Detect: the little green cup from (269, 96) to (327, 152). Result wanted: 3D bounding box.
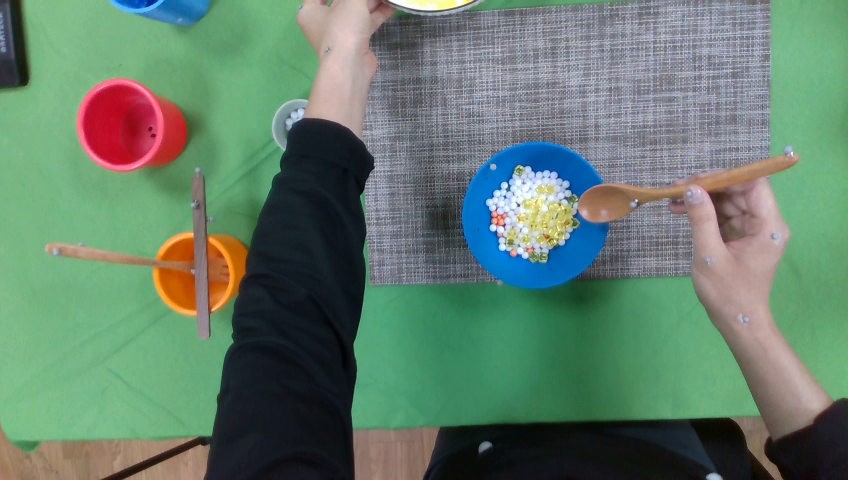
[{"bbox_3d":[-0.139,-0.128,0.681,0.061,0.038,0.061,0,97,5],"label":"little green cup"}]

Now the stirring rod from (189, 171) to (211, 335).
[{"bbox_3d":[-0.239,0.015,0.645,0.014,0.006,0.176,-1,96,6],"label":"stirring rod"}]

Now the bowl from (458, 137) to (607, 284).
[{"bbox_3d":[0.113,-0.032,0.650,0.151,0.077,0.151,0,96,5],"label":"bowl"}]

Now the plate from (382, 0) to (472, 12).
[{"bbox_3d":[0.005,-0.337,0.623,0.209,0.038,0.209,0,93,2],"label":"plate"}]

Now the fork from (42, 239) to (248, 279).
[{"bbox_3d":[-0.291,0.020,0.653,0.209,0.018,0.028,11,102,-41],"label":"fork"}]

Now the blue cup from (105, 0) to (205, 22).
[{"bbox_3d":[-0.283,-0.275,0.643,0.092,0.100,0.093,1,97,6],"label":"blue cup"}]

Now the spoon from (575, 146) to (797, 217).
[{"bbox_3d":[0.207,-0.047,0.506,0.042,0.193,0.021,51,60,-19],"label":"spoon"}]
